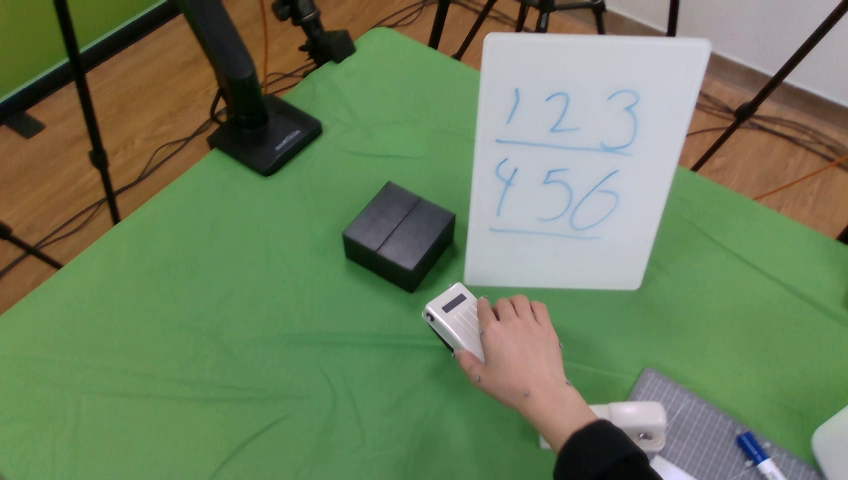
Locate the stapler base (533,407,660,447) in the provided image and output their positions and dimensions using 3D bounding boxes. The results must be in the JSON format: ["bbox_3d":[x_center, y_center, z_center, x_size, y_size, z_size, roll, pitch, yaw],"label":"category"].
[{"bbox_3d":[0.181,0.192,0.633,0.130,0.024,0.041,0,50,2],"label":"stapler base"}]

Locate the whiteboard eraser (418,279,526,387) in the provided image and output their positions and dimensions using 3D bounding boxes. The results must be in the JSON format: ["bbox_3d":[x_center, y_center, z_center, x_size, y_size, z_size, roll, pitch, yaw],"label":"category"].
[{"bbox_3d":[0.049,0.098,0.637,0.055,0.042,0.112,-35,69,-26],"label":"whiteboard eraser"}]

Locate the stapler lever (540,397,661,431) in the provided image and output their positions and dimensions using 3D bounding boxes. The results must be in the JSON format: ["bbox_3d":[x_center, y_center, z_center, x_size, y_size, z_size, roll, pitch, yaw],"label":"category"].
[{"bbox_3d":[0.179,0.177,0.614,0.118,0.040,0.026,0,50,2],"label":"stapler lever"}]

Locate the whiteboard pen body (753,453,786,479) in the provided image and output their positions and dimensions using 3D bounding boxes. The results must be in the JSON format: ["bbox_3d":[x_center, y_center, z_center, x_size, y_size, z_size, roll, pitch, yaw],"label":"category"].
[{"bbox_3d":[0.359,0.253,0.594,0.017,0.017,0.139,-19,55,-15],"label":"whiteboard pen body"}]

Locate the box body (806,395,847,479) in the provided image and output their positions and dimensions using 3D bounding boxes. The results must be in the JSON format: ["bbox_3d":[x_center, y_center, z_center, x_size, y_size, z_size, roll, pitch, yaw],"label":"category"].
[{"bbox_3d":[0.544,0.275,0.502,0.254,0.162,0.360,-9,55,-9],"label":"box body"}]

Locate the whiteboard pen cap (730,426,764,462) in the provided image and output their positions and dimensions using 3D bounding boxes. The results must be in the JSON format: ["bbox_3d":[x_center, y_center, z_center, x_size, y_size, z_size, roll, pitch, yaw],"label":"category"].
[{"bbox_3d":[0.335,0.212,0.627,0.018,0.018,0.033,-19,56,-15],"label":"whiteboard pen cap"}]

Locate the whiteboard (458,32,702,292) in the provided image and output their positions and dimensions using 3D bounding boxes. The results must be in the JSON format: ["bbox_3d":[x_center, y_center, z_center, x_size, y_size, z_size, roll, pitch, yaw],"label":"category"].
[{"bbox_3d":[0.154,-0.103,0.709,0.217,0.308,0.142,2,35,0],"label":"whiteboard"}]

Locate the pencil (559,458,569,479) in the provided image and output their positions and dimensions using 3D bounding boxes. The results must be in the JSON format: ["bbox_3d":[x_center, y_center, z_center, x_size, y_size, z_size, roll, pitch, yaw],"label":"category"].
[{"bbox_3d":[0.113,0.296,0.567,0.012,0.012,0.193,18,55,11],"label":"pencil"}]
